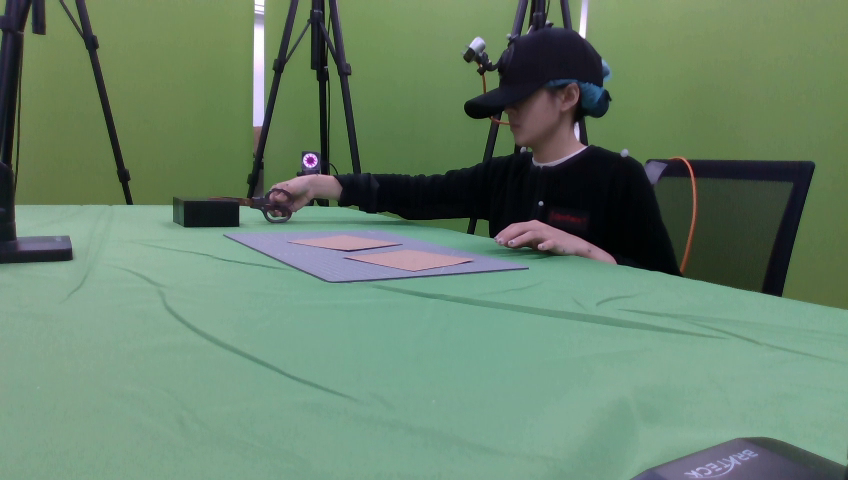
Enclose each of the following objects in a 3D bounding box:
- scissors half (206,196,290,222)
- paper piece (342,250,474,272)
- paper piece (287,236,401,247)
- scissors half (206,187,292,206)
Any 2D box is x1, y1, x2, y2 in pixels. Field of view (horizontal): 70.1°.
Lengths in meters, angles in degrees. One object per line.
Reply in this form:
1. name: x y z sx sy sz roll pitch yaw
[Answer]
1. scissors half: -0.357 -0.067 1.233 0.176 0.040 0.013 14 5 -36
2. paper piece: -0.023 0.027 0.848 0.135 0.004 0.136 8 9 39
3. paper piece: -0.130 0.004 0.986 0.137 0.008 0.137 7 4 35
4. scissors half: -0.353 -0.086 1.229 0.176 0.040 0.012 -5 21 -32
